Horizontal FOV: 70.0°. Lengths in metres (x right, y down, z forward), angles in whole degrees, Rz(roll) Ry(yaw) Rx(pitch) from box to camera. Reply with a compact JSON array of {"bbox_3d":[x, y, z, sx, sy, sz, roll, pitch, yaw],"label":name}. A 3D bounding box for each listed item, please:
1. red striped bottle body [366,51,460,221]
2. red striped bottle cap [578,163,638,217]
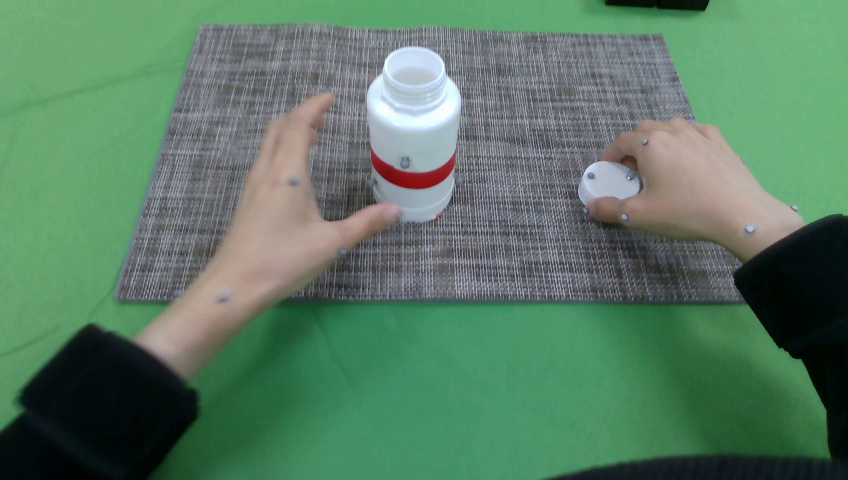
[{"bbox_3d":[-0.008,-0.072,0.425,0.063,0.120,0.062,1,56,-1],"label":"red striped bottle body"},{"bbox_3d":[0.143,-0.040,0.471,0.044,0.018,0.044,1,51,-1],"label":"red striped bottle cap"}]
